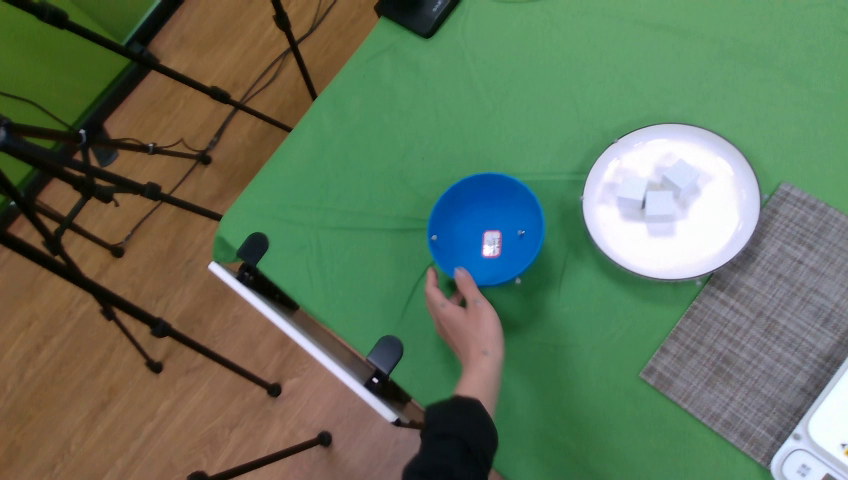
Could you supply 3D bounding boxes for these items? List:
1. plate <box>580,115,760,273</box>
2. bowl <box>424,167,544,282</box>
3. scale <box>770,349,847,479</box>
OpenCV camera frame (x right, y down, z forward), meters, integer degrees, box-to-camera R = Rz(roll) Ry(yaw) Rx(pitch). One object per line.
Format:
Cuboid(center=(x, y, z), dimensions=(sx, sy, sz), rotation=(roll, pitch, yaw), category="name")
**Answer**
Cuboid(center=(0.304, -0.056, 0.763), dimensions=(0.207, 0.039, 0.206), rotation=(-4, 73, 14), category="plate")
Cuboid(center=(0.083, -0.011, 0.786), dimensions=(0.151, 0.077, 0.150), rotation=(-4, 73, 14), category="bowl")
Cuboid(center=(0.484, 0.205, 0.633), dimensions=(0.147, 0.032, 0.201), rotation=(37, 86, 22), category="scale")
